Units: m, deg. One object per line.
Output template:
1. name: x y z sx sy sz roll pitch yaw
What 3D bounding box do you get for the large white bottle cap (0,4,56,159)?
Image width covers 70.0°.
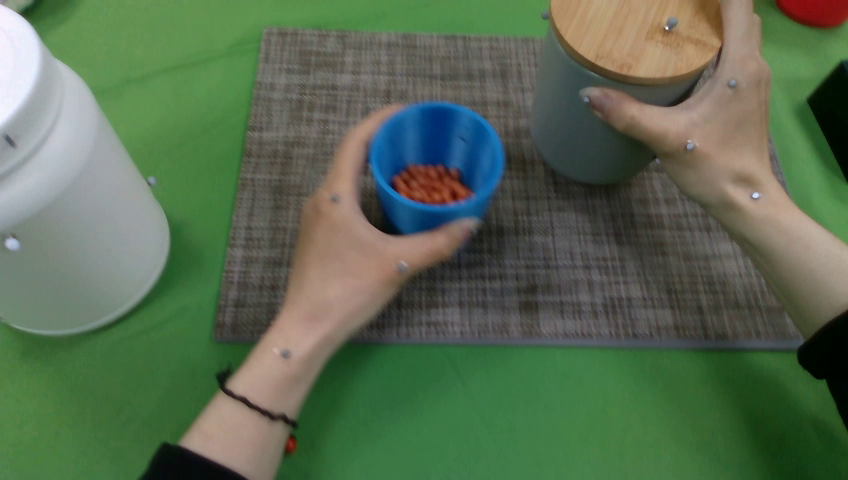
1. large white bottle cap: -0.240 -0.073 0.288 0.115 0.018 0.114 2 61 -3

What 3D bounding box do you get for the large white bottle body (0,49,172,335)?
1. large white bottle body: -0.244 -0.032 0.362 0.131 0.186 0.129 2 62 -3

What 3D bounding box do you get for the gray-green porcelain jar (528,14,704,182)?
1. gray-green porcelain jar: 0.132 -0.111 0.437 0.106 0.127 0.105 0 64 1

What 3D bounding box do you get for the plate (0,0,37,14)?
1. plate: -0.432 -0.255 0.552 0.208 0.039 0.206 2 62 -3

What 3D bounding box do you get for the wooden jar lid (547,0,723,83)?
1. wooden jar lid: 0.130 -0.138 0.381 0.108 0.021 0.107 1 63 -1

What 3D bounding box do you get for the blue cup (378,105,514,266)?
1. blue cup: 0.013 -0.028 0.422 0.093 0.101 0.092 1 64 -1
